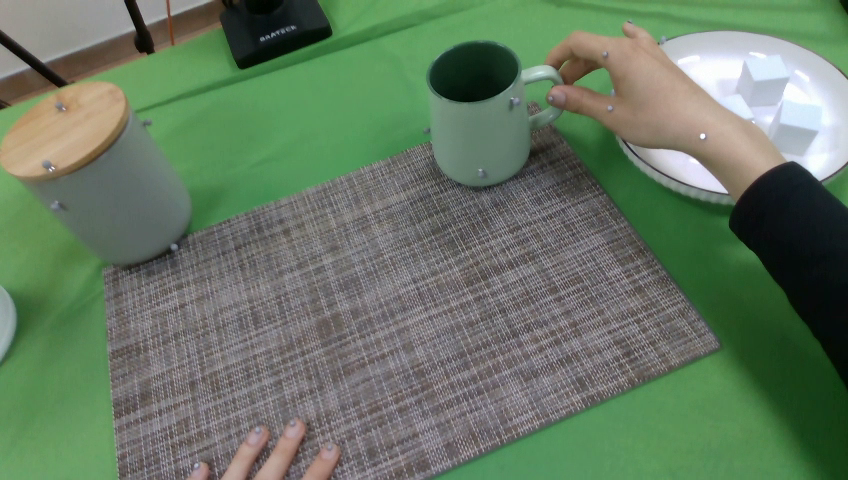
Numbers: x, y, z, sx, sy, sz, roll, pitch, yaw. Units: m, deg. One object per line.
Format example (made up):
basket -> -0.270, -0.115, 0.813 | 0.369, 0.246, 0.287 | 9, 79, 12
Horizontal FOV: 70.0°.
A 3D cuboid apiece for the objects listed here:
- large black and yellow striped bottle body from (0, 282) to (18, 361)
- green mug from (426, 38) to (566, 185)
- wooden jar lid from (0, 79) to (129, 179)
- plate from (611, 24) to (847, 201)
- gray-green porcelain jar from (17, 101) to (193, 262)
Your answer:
large black and yellow striped bottle body -> -0.440, 0.044, 0.474 | 0.130, 0.186, 0.129 | -4, 56, 7
green mug -> 0.064, -0.115, 0.537 | 0.125, 0.106, 0.091 | -14, 54, 0
wooden jar lid -> -0.289, -0.088, 0.492 | 0.108, 0.021, 0.107 | -6, 55, 10
plate -> 0.275, -0.114, 0.545 | 0.207, 0.039, 0.205 | -5, 56, 7
gray-green porcelain jar -> -0.278, -0.049, 0.541 | 0.106, 0.128, 0.105 | -6, 52, 7
